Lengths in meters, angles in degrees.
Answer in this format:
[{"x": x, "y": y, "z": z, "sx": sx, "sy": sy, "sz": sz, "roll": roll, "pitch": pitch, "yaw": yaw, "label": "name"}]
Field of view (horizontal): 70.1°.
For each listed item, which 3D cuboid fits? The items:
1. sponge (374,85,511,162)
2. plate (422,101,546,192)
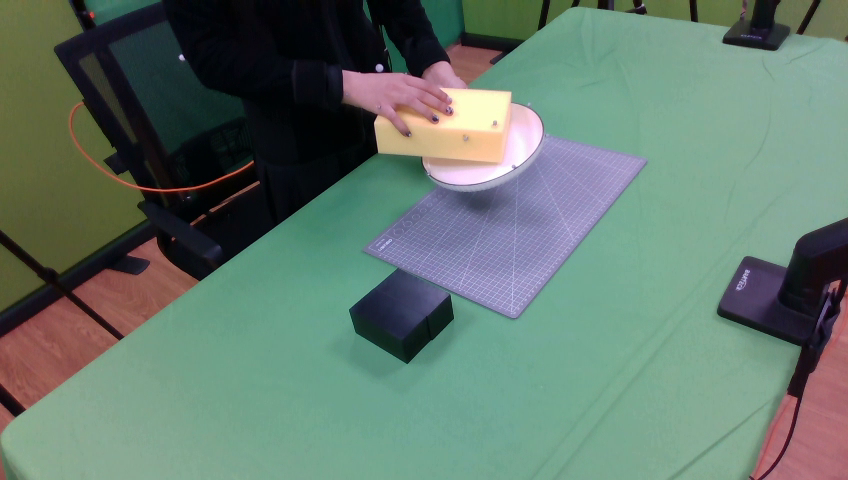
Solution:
[{"x": 0.034, "y": -0.194, "z": 0.998, "sx": 0.206, "sy": 0.061, "sz": 0.118, "roll": 5, "pitch": 46, "yaw": 8, "label": "sponge"}, {"x": 0.099, "y": -0.151, "z": 1.000, "sx": 0.208, "sy": 0.038, "sz": 0.208, "roll": -12, "pitch": 46, "yaw": 13, "label": "plate"}]
